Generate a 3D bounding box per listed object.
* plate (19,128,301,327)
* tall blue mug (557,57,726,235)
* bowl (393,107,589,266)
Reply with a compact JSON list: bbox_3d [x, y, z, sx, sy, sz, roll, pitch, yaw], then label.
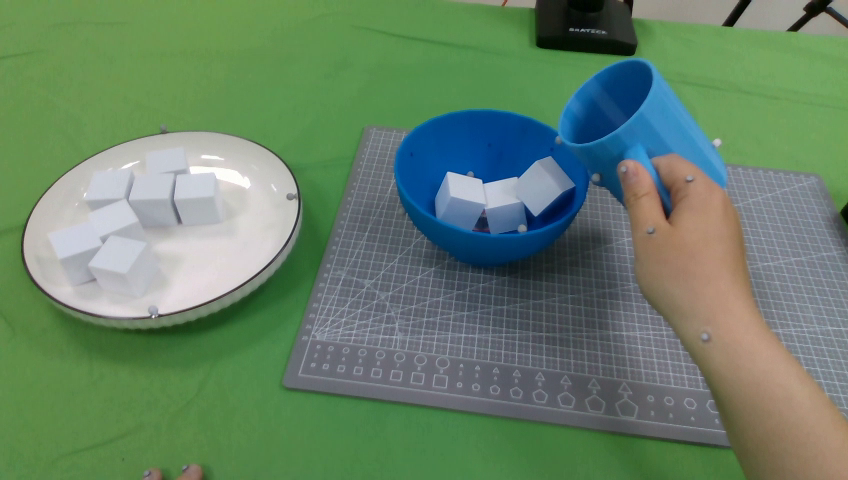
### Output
[{"bbox_3d":[-0.203,-0.013,0.488,0.209,0.038,0.207,2,48,-2],"label":"plate"},{"bbox_3d":[0.164,-0.061,0.430,0.078,0.109,0.106,-49,31,4],"label":"tall blue mug"},{"bbox_3d":[0.050,-0.032,0.490,0.151,0.077,0.150,2,47,-2],"label":"bowl"}]
